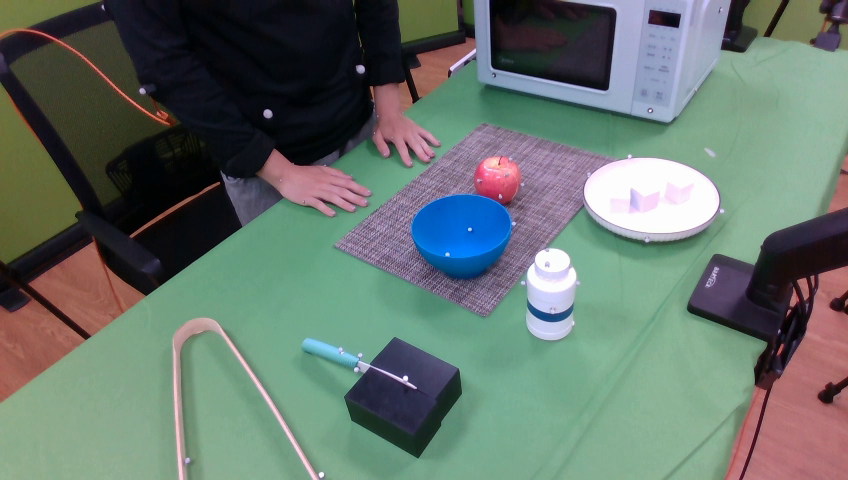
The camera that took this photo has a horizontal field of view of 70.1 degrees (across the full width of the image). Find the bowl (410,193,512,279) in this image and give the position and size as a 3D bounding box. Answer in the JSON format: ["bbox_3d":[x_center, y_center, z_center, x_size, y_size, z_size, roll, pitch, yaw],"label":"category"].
[{"bbox_3d":[0.058,0.005,0.905,0.151,0.077,0.150,-4,40,4],"label":"bowl"}]

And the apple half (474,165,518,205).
[{"bbox_3d":[0.115,-0.084,1.005,0.081,0.081,0.033,11,41,20],"label":"apple half"}]

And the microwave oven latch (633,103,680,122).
[{"bbox_3d":[0.444,-0.249,1.157,0.078,0.029,0.030,21,48,30],"label":"microwave oven latch"}]

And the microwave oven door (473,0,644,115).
[{"bbox_3d":[0.257,-0.396,1.199,0.353,0.245,0.039,21,48,29],"label":"microwave oven door"}]

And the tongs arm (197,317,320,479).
[{"bbox_3d":[-0.199,0.207,0.750,0.028,0.028,0.384,-31,45,-22],"label":"tongs arm"}]

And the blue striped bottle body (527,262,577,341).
[{"bbox_3d":[0.165,0.070,0.786,0.063,0.121,0.063,-4,41,4],"label":"blue striped bottle body"}]

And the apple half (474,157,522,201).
[{"bbox_3d":[0.130,-0.107,1.031,0.080,0.075,0.053,8,38,22],"label":"apple half"}]

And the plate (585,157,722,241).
[{"bbox_3d":[0.367,-0.063,0.979,0.207,0.039,0.206,-4,40,4],"label":"plate"}]

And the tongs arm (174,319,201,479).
[{"bbox_3d":[-0.272,0.234,0.723,0.051,0.026,0.381,-19,40,-15],"label":"tongs arm"}]

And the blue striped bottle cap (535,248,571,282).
[{"bbox_3d":[0.161,0.031,0.753,0.044,0.021,0.044,-4,42,4],"label":"blue striped bottle cap"}]

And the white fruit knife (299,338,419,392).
[{"bbox_3d":[-0.087,0.156,0.762,0.206,0.027,0.016,11,44,36],"label":"white fruit knife"}]

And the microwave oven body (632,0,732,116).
[{"bbox_3d":[0.377,-0.462,1.267,0.438,0.261,0.327,21,48,30],"label":"microwave oven body"}]
